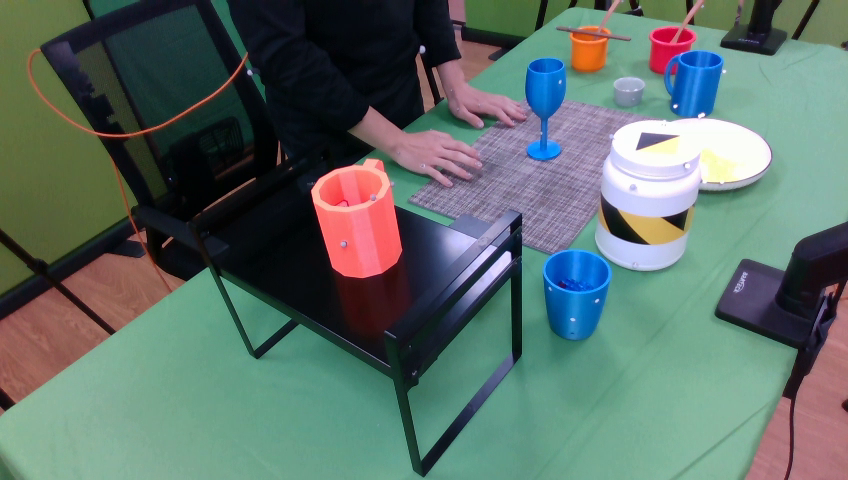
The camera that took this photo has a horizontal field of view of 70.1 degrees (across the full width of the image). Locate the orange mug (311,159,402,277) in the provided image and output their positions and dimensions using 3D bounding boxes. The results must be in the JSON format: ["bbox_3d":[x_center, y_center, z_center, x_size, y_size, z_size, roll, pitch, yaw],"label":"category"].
[{"bbox_3d":[-0.070,-0.034,0.694,0.083,0.101,0.126,5,46,16],"label":"orange mug"}]

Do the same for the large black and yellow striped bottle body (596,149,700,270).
[{"bbox_3d":[0.323,-0.062,0.877,0.131,0.185,0.130,-5,40,4],"label":"large black and yellow striped bottle body"}]

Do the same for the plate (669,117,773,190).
[{"bbox_3d":[0.495,-0.148,1.063,0.209,0.038,0.208,-5,40,4],"label":"plate"}]

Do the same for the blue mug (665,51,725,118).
[{"bbox_3d":[0.526,-0.314,1.199,0.082,0.106,0.115,-27,44,-21],"label":"blue mug"}]

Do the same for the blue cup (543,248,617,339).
[{"bbox_3d":[0.199,0.076,0.797,0.092,0.100,0.092,-4,39,4],"label":"blue cup"}]

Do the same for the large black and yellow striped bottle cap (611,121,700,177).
[{"bbox_3d":[0.315,-0.126,0.823,0.115,0.019,0.114,-4,42,4],"label":"large black and yellow striped bottle cap"}]

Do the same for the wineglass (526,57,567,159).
[{"bbox_3d":[0.221,-0.237,1.097,0.074,0.173,0.073,-5,41,4],"label":"wineglass"}]

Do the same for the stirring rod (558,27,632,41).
[{"bbox_3d":[0.381,-0.463,1.356,0.175,0.006,0.014,21,48,30],"label":"stirring rod"}]

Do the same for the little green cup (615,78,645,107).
[{"bbox_3d":[0.426,-0.306,1.257,0.061,0.039,0.061,-5,40,4],"label":"little green cup"}]

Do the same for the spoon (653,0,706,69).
[{"bbox_3d":[0.570,-0.461,1.334,0.041,0.022,0.193,39,102,42],"label":"spoon"}]

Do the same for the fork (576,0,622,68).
[{"bbox_3d":[0.409,-0.484,1.381,0.028,0.019,0.207,37,101,46],"label":"fork"}]
